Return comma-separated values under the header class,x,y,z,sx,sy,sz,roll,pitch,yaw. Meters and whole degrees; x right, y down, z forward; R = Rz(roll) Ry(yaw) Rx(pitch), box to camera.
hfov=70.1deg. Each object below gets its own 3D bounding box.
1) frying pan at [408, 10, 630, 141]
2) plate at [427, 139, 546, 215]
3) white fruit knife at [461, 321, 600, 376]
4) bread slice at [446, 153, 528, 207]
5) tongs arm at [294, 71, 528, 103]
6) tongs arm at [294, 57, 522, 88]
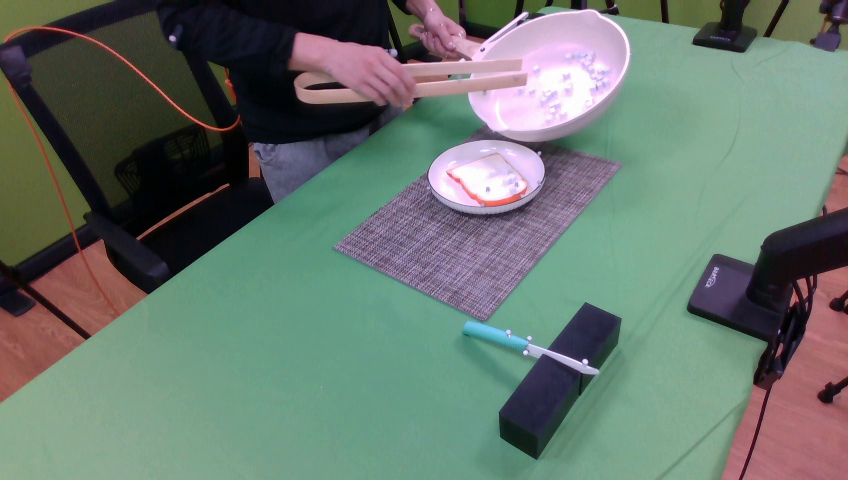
class,x,y,z,sx,sy,sz,roll,pitch,yaw
frying pan,0.152,-0.341,1.157,0.484,0.103,0.307,33,75,30
plate,0.109,-0.106,1.058,0.207,0.039,0.206,-4,40,4
white fruit knife,0.126,0.133,0.752,0.205,0.027,0.016,12,45,42
bread slice,0.117,-0.104,1.057,0.107,0.018,0.133,-24,41,-17
tongs arm,-0.020,-0.261,1.005,0.386,0.026,0.050,-8,51,-6
tongs arm,-0.023,-0.284,1.025,0.388,0.028,0.028,-6,54,-5
